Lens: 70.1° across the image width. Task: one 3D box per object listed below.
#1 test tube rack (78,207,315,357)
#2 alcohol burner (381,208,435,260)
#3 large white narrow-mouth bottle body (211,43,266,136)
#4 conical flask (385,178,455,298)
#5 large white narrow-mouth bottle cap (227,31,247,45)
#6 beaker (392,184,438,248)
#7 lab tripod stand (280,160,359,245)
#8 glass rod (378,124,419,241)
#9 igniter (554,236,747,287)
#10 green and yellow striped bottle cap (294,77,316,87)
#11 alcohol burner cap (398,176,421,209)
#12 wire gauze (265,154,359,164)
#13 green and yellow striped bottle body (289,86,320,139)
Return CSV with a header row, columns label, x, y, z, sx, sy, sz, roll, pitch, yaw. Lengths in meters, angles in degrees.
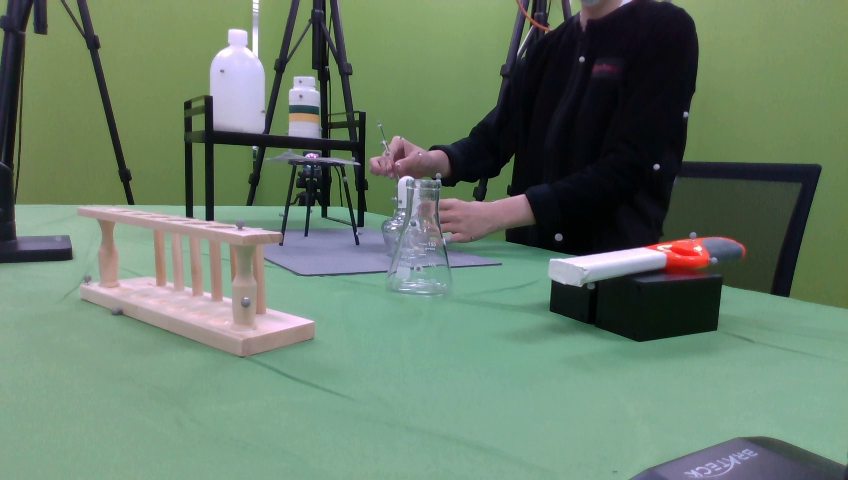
label,x,y,z,sx,sy,sz,roll,pitch,yaw
test tube rack,-0.196,0.023,0.500,0.241,0.085,0.067,8,8,37
alcohol burner,-0.023,-0.032,0.871,0.078,0.119,0.078,1,6,0
large white narrow-mouth bottle body,-0.361,-0.303,1.176,0.102,0.194,0.102,1,7,0
conical flask,-0.002,-0.004,0.639,0.075,0.122,0.075,2,7,0
large white narrow-mouth bottle cap,-0.361,-0.389,1.166,0.038,0.024,0.037,1,7,0
beaker,-0.013,-0.040,0.993,0.074,0.100,0.083,-5,11,-42
lab tripod stand,-0.176,-0.062,0.973,0.148,0.131,0.148,1,7,0
glass rod,-0.042,-0.093,0.985,0.008,0.199,0.008,-18,7,3
igniter,0.221,0.017,0.558,0.278,0.025,0.057,-5,15,-39
green and yellow striped bottle cap,-0.247,-0.326,1.251,0.045,0.020,0.045,0,10,0
alcohol burner cap,-0.023,-0.068,0.866,0.034,0.048,0.034,-5,8,1
wire gauze,-0.181,-0.129,0.969,0.126,0.011,0.121,-1,7,-27
green and yellow striped bottle body,-0.249,-0.272,1.259,0.063,0.119,0.063,2,8,0
